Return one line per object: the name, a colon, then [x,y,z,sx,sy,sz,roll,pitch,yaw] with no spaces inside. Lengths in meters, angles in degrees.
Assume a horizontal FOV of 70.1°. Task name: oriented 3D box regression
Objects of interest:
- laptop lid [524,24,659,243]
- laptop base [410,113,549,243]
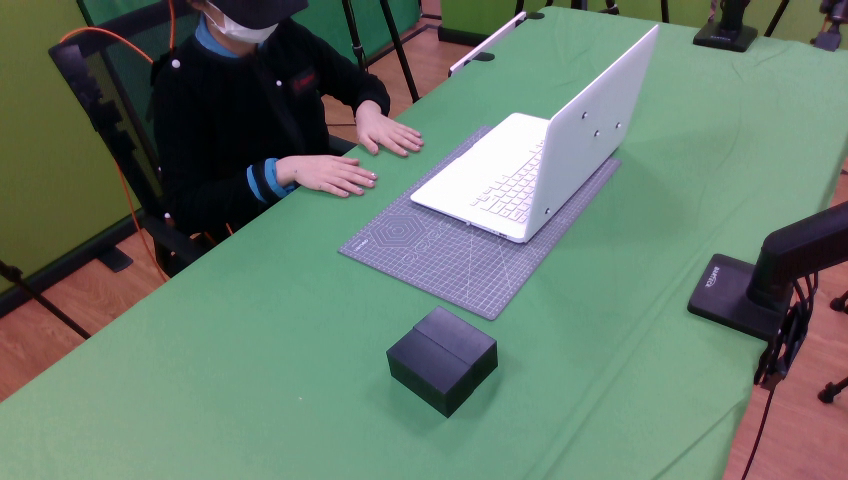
laptop lid: [0.266,-0.170,0.949,0.013,0.242,0.358,30,50,25]
laptop base: [0.171,-0.126,1.096,0.233,0.023,0.355,21,47,33]
